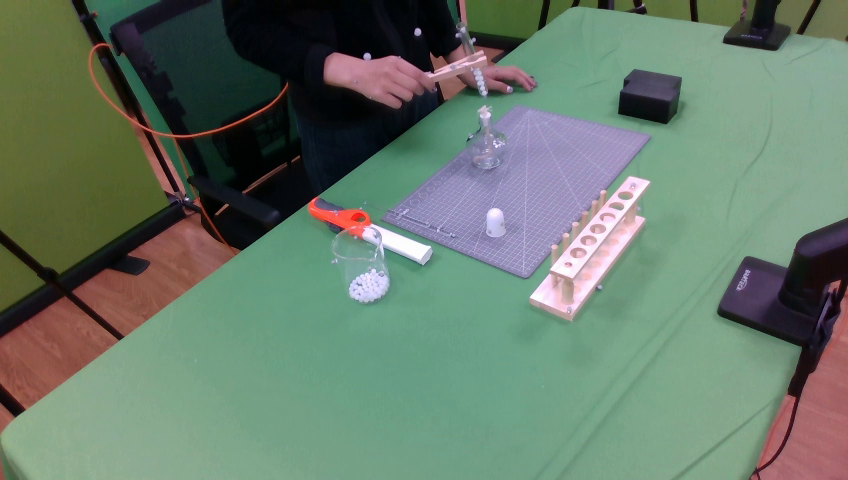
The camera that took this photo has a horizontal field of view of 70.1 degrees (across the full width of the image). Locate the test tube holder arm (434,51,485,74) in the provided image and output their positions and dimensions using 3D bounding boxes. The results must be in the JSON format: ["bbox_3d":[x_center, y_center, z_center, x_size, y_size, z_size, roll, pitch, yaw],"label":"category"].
[{"bbox_3d":[0.058,-0.288,0.997,0.088,0.015,0.010,-24,50,-1],"label":"test tube holder arm"}]

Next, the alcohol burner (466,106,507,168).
[{"bbox_3d":[0.114,-0.193,1.112,0.078,0.119,0.077,-4,41,4],"label":"alcohol burner"}]

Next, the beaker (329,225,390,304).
[{"bbox_3d":[-0.089,0.040,0.890,0.074,0.101,0.083,-32,46,-24],"label":"beaker"}]

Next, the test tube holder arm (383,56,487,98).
[{"bbox_3d":[0.018,-0.269,0.996,0.178,0.015,0.013,-18,50,4],"label":"test tube holder arm"}]

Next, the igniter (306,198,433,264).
[{"bbox_3d":[-0.102,-0.020,1.019,0.274,0.025,0.057,22,59,32],"label":"igniter"}]

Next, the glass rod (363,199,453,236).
[{"bbox_3d":[-0.031,-0.041,1.041,0.198,0.008,0.008,22,50,31],"label":"glass rod"}]

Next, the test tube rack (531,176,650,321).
[{"bbox_3d":[0.246,0.002,0.884,0.066,0.085,0.243,22,49,32],"label":"test tube rack"}]

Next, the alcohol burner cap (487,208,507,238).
[{"bbox_3d":[0.116,-0.030,0.975,0.034,0.048,0.033,-6,40,5],"label":"alcohol burner cap"}]

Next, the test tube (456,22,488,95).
[{"bbox_3d":[0.081,-0.294,0.993,0.017,0.151,0.017,-10,56,16],"label":"test tube"}]
